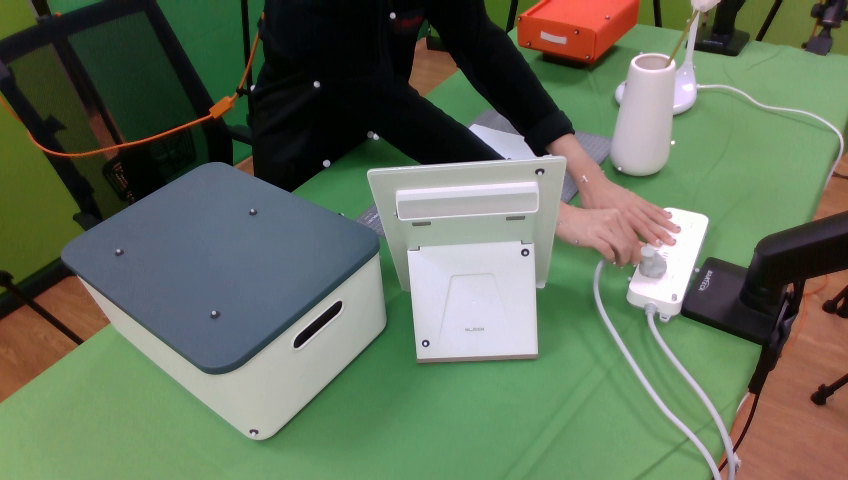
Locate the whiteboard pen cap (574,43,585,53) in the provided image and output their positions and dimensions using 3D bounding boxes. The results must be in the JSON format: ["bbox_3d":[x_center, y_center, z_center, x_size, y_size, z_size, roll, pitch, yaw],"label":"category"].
[{"bbox_3d":[0.347,-0.430,1.350,0.018,0.018,0.033,16,39,25],"label":"whiteboard pen cap"}]

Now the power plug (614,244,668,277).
[{"bbox_3d":[0.307,0.029,0.851,0.072,0.053,0.035,27,50,33],"label":"power plug"}]

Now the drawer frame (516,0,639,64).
[{"bbox_3d":[0.356,-0.507,1.410,0.200,0.083,0.214,25,51,32],"label":"drawer frame"}]

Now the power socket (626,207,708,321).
[{"bbox_3d":[0.359,0.026,0.886,0.072,0.033,0.227,16,46,26],"label":"power socket"}]

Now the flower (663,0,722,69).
[{"bbox_3d":[0.379,-0.261,0.965,0.044,0.362,0.038,21,53,5],"label":"flower"}]

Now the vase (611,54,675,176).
[{"bbox_3d":[0.377,-0.209,1.031,0.098,0.201,0.097,-3,40,3],"label":"vase"}]

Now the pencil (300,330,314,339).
[{"bbox_3d":[-0.203,0.118,0.878,0.192,0.012,0.012,19,46,39],"label":"pencil"}]

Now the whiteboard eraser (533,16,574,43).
[{"bbox_3d":[0.305,-0.493,1.422,0.055,0.042,0.113,27,43,25],"label":"whiteboard eraser"}]

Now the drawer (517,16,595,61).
[{"bbox_3d":[0.353,-0.505,1.404,0.193,0.073,0.212,25,50,33],"label":"drawer"}]

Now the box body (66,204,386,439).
[{"bbox_3d":[-0.257,0.068,0.824,0.361,0.161,0.255,24,49,31],"label":"box body"}]

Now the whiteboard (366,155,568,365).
[{"bbox_3d":[0.059,0.050,0.738,0.217,0.307,0.143,-3,60,5],"label":"whiteboard"}]

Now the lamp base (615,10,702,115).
[{"bbox_3d":[0.484,-0.363,1.211,0.180,0.181,0.159,-15,41,-14],"label":"lamp base"}]

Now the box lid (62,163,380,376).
[{"bbox_3d":[-0.263,0.012,0.774,0.368,0.015,0.264,23,49,32],"label":"box lid"}]

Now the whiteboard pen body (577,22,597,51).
[{"bbox_3d":[0.373,-0.468,1.390,0.017,0.017,0.141,14,47,23],"label":"whiteboard pen body"}]
